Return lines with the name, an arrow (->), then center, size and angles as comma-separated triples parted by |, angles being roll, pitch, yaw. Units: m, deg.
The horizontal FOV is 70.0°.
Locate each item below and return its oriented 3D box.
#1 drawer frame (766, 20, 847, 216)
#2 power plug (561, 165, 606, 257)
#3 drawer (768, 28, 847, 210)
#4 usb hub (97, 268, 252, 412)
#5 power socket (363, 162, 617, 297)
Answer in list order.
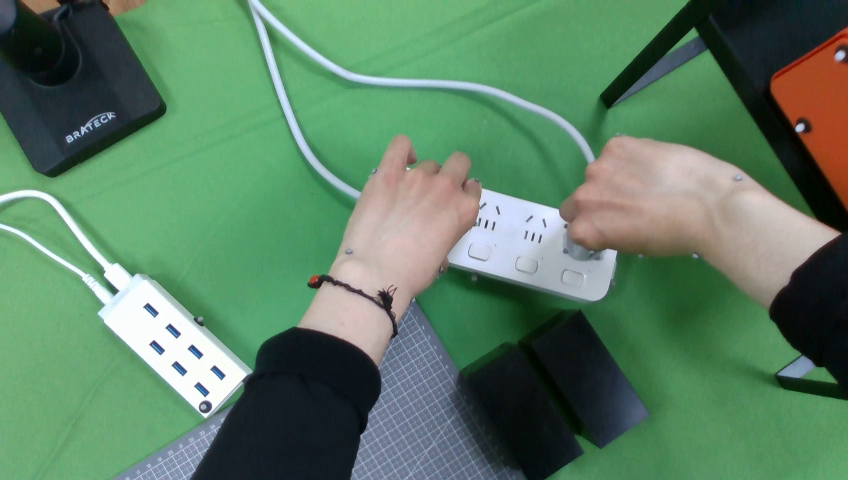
drawer frame -> 0.352, -0.076, 0.352 | 0.213, 0.083, 0.201 | -32, 87, -7
power plug -> 0.143, -0.020, 0.518 | 0.035, 0.053, 0.072 | 27, 80, 1
drawer -> 0.349, -0.073, 0.353 | 0.212, 0.073, 0.194 | -31, 87, -7
usb hub -> -0.208, 0.083, 0.507 | 0.125, 0.025, 0.049 | 43, 85, 1
power socket -> 0.061, -0.009, 0.530 | 0.227, 0.032, 0.072 | 15, 83, -2
